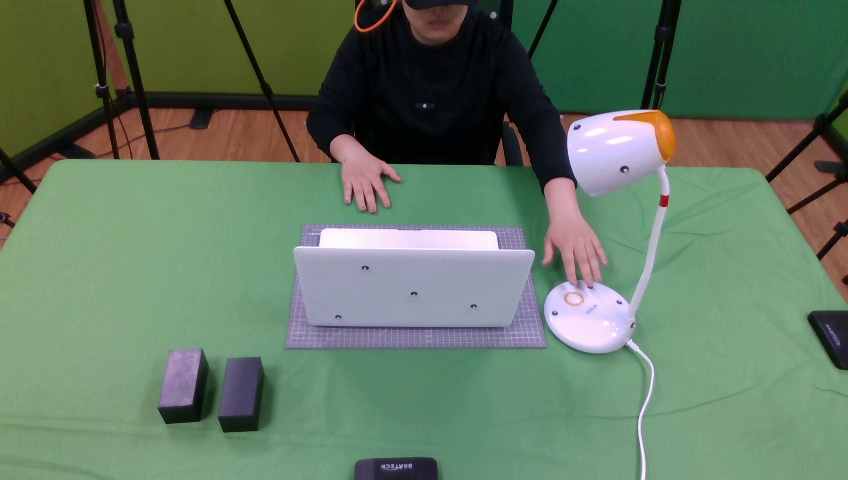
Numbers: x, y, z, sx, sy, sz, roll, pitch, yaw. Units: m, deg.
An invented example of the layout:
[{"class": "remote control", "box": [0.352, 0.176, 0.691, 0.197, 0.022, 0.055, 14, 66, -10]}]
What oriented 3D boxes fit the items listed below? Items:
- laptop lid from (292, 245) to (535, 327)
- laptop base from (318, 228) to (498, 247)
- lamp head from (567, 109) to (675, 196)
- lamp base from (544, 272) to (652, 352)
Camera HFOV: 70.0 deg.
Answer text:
[{"class": "laptop lid", "box": [-0.018, 0.080, 0.956, 0.357, 0.243, 0.013, 2, 54, -5]}, {"class": "laptop base", "box": [-0.027, 0.066, 1.134, 0.355, 0.023, 0.234, 1, 43, -4]}, {"class": "lamp head", "box": [0.272, -0.123, 0.818, 0.122, 0.113, 0.112, -9, 35, 37]}, {"class": "lamp base", "box": [0.310, 0.086, 1.029, 0.178, 0.181, 0.160, 32, 52, 21]}]
